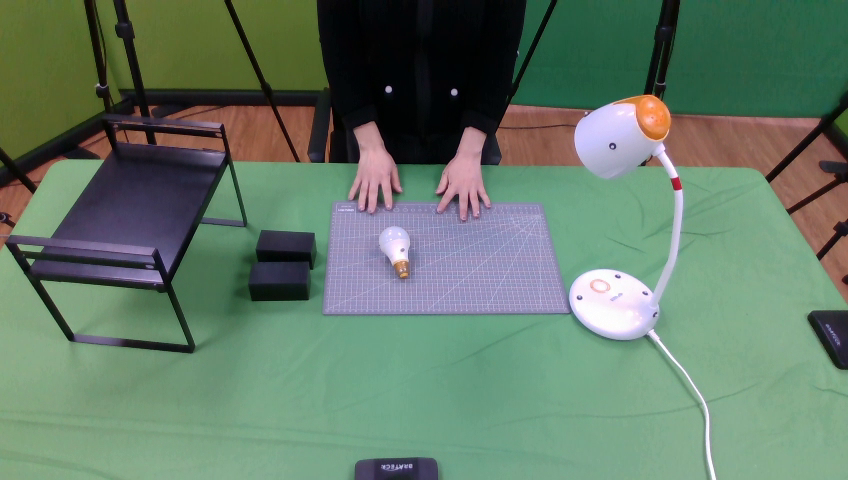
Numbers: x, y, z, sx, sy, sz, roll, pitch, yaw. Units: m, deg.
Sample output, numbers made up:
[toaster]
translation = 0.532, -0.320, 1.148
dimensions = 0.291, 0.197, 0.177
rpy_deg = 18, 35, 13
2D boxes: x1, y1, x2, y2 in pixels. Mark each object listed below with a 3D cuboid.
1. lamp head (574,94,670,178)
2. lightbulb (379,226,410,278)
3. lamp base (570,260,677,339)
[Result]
[lamp head]
translation = 0.304, -0.158, 0.898
dimensions = 0.113, 0.123, 0.112
rpy_deg = 5, 79, -25
[lightbulb]
translation = -0.051, 0.023, 1.148
dimensions = 0.059, 0.060, 0.107
rpy_deg = -11, 63, -14
[lamp base]
translation = 0.360, 0.067, 1.047
dimensions = 0.178, 0.181, 0.160
rpy_deg = 38, 55, 26
